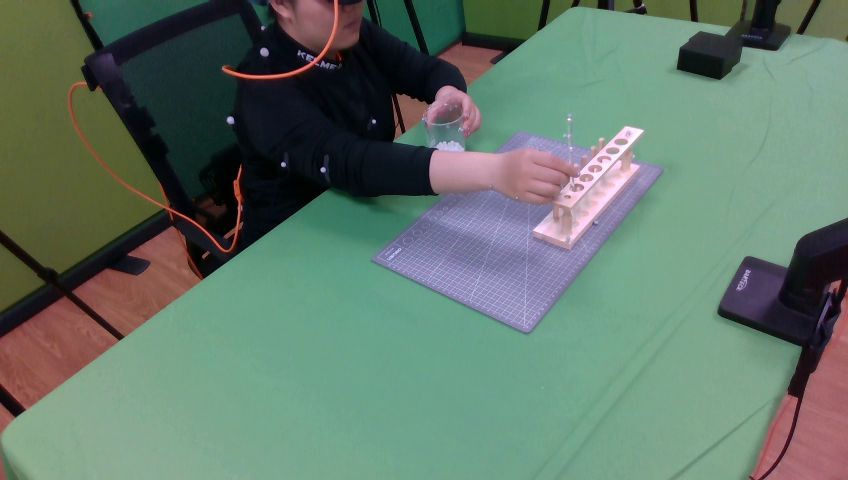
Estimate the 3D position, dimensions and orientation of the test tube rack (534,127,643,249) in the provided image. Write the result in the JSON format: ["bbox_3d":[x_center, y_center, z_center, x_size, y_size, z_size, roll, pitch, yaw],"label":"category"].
[{"bbox_3d":[0.272,-0.094,0.989,0.066,0.085,0.243,23,50,33],"label":"test tube rack"}]

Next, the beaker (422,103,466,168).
[{"bbox_3d":[0.041,-0.192,1.115,0.073,0.101,0.084,10,45,19],"label":"beaker"}]

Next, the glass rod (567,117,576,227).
[{"bbox_3d":[0.218,-0.094,0.896,0.008,0.201,0.008,-8,41,7],"label":"glass rod"}]
